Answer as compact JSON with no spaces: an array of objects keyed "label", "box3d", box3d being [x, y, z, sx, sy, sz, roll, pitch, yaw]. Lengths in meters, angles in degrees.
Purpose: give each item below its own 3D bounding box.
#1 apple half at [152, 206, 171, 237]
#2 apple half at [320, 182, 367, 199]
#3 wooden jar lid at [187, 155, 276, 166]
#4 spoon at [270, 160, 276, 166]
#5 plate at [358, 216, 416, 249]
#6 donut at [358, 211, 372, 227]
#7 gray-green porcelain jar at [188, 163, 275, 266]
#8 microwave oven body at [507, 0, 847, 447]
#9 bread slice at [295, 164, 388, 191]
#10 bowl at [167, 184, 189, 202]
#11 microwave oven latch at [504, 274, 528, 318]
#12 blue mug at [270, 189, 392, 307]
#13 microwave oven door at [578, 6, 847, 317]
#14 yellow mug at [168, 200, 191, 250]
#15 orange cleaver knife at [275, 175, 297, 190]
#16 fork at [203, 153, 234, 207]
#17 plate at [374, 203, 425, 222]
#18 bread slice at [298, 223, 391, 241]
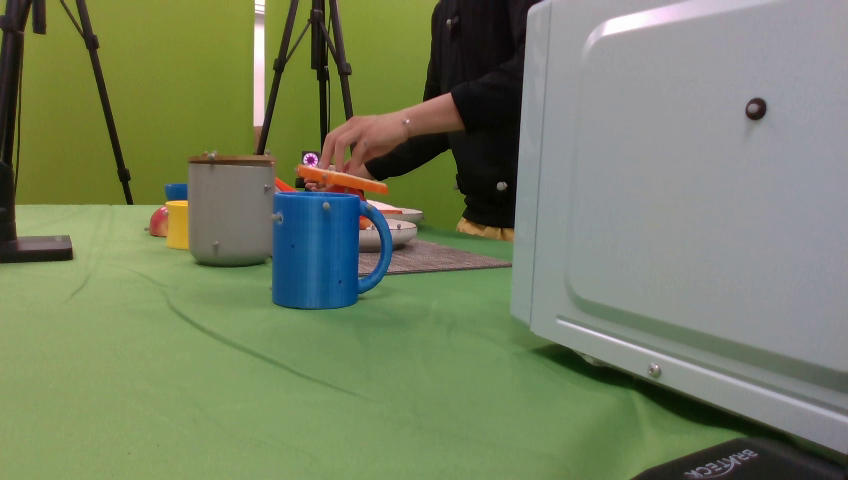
[{"label":"apple half","box3d":[-0.415,-0.034,1.017,0.081,0.053,0.074,1,10,-8]},{"label":"apple half","box3d":[-0.128,-0.076,0.949,0.081,0.033,0.081,2,13,0]},{"label":"wooden jar lid","box3d":[-0.244,-0.097,0.771,0.108,0.020,0.108,-1,7,0]},{"label":"spoon","box3d":[-0.396,-0.150,1.548,0.042,0.193,0.021,2,-37,-4]},{"label":"plate","box3d":[-0.116,-0.014,0.967,0.208,0.039,0.207,2,7,0]},{"label":"donut","box3d":[-0.129,-0.041,0.956,0.099,0.048,0.099,3,8,0]},{"label":"gray-green porcelain jar","box3d":[-0.246,-0.034,0.780,0.106,0.126,0.106,2,7,0]},{"label":"microwave oven body","box3d":[0.331,-0.042,0.425,0.444,0.260,0.324,-2,8,-31]},{"label":"bread slice","box3d":[-0.134,-0.100,0.951,0.132,0.019,0.104,8,5,-32]},{"label":"bowl","box3d":[-0.408,-0.064,1.154,0.151,0.077,0.151,2,8,0]},{"label":"microwave oven latch","box3d":[0.100,0.041,0.471,0.079,0.029,0.030,-1,8,-28]},{"label":"blue mug","box3d":[-0.089,0.005,0.588,0.117,0.106,0.082,1,7,-10]},{"label":"microwave oven door","box3d":[0.294,-0.067,0.570,0.358,0.243,0.039,-3,9,-31]},{"label":"yellow mug","box3d":[-0.320,-0.023,0.904,0.130,0.064,0.100,8,10,36]},{"label":"orange cleaver knife","box3d":[-0.283,-0.087,1.343,0.212,0.077,0.012,24,-16,-41]},{"label":"fork","box3d":[-0.480,-0.134,1.411,0.028,0.018,0.207,1,-35,0]},{"label":"plate","box3d":[-0.102,-0.053,1.299,0.209,0.038,0.209,2,8,0]},{"label":"bread slice","box3d":[-0.121,-0.014,0.970,0.106,0.018,0.135,9,9,41]}]
